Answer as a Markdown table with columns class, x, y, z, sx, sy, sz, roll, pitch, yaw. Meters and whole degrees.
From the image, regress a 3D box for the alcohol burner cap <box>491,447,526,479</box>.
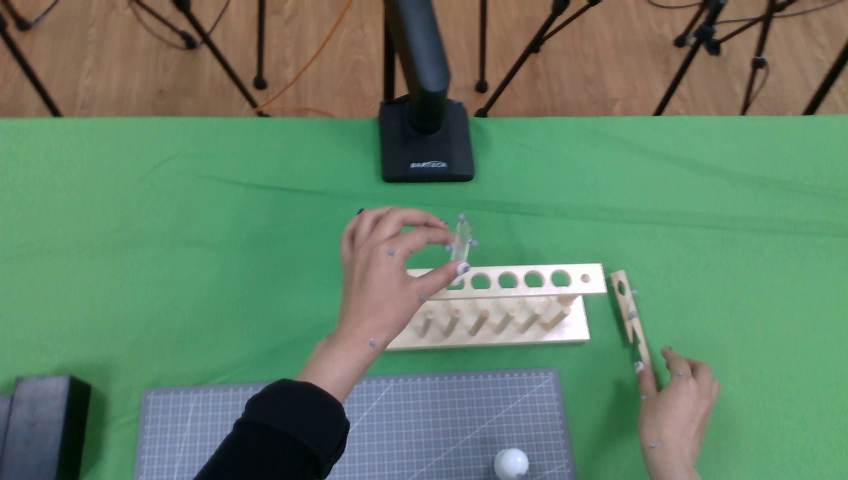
| class | x | y | z | sx | sy | sz | roll | pitch | yaw |
| --- | --- | --- | --- | --- | --- | --- | --- | --- | --- |
| alcohol burner cap | 0.090 | 0.230 | 0.627 | 0.034 | 0.048 | 0.033 | 2 | 67 | -5 |

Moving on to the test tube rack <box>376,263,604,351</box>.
| class | x | y | z | sx | sy | sz | roll | pitch | yaw |
| --- | --- | --- | --- | --- | --- | --- | --- | --- | --- |
| test tube rack | 0.070 | 0.075 | 0.671 | 0.243 | 0.085 | 0.066 | -2 | 66 | -7 |

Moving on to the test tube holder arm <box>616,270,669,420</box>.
| class | x | y | z | sx | sy | sz | roll | pitch | yaw |
| --- | --- | --- | --- | --- | --- | --- | --- | --- | --- |
| test tube holder arm | 0.253 | 0.120 | 0.707 | 0.013 | 0.015 | 0.177 | -22 | 66 | 24 |

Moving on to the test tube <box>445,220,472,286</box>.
| class | x | y | z | sx | sy | sz | roll | pitch | yaw |
| --- | --- | --- | --- | --- | --- | --- | --- | --- | --- |
| test tube | 0.031 | 0.016 | 0.563 | 0.017 | 0.151 | 0.017 | 0 | 70 | -1 |

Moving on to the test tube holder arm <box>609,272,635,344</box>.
| class | x | y | z | sx | sy | sz | roll | pitch | yaw |
| --- | --- | --- | --- | --- | --- | --- | --- | --- | --- |
| test tube holder arm | 0.239 | 0.081 | 0.726 | 0.010 | 0.015 | 0.087 | -21 | 67 | 24 |
